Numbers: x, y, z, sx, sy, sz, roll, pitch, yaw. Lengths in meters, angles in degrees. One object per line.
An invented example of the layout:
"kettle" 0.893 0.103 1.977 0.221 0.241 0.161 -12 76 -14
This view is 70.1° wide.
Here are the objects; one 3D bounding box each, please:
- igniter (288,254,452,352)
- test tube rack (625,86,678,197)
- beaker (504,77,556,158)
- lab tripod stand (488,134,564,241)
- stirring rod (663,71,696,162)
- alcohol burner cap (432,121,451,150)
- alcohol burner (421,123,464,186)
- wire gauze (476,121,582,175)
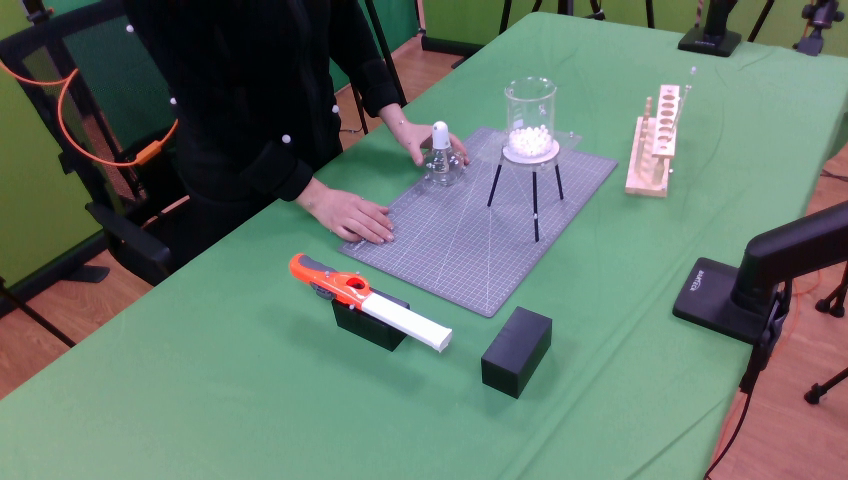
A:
"igniter" -0.084 0.079 0.818 0.274 0.025 0.057 23 46 27
"test tube rack" 0.412 -0.184 1.088 0.066 0.085 0.242 9 43 18
"beaker" 0.160 -0.181 0.900 0.084 0.101 0.073 -32 46 -27
"lab tripod stand" 0.168 -0.092 0.972 0.148 0.132 0.147 -5 41 5
"stirring rod" 0.410 -0.196 0.981 0.014 0.177 0.006 11 50 13
"alcohol burner cap" 0.029 -0.185 1.060 0.034 0.048 0.033 -5 37 4
"alcohol burner" 0.032 -0.158 1.083 0.078 0.119 0.077 -4 42 4
"wire gauze" 0.162 -0.142 0.929 0.120 0.011 0.125 19 49 32
